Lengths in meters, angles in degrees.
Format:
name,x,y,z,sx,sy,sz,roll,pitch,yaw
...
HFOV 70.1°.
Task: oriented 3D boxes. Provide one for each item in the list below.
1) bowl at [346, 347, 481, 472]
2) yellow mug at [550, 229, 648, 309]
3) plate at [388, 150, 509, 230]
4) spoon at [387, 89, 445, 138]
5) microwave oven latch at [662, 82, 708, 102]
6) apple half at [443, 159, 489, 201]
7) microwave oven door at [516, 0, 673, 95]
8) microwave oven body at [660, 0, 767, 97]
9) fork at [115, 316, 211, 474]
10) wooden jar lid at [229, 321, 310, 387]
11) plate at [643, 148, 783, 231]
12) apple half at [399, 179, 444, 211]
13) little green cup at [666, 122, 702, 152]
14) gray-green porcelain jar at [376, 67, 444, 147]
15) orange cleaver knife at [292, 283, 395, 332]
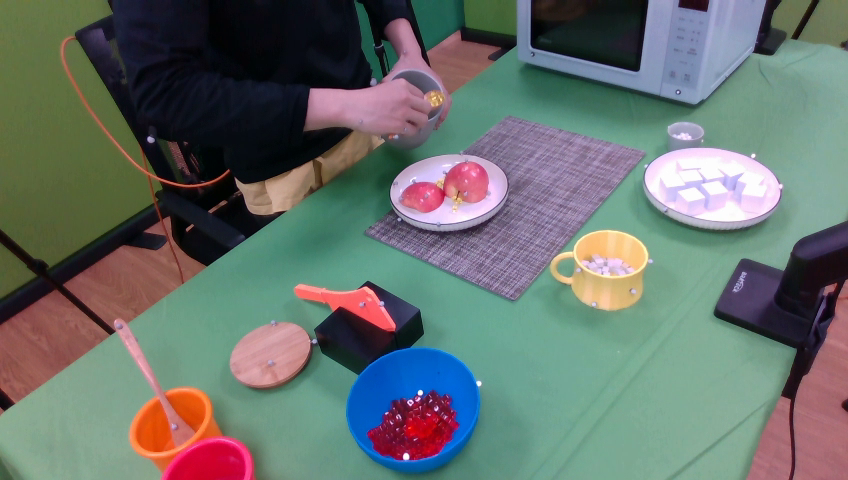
name,x,y,z,sx,sy,sz,roll,pitch,yaw
bowl,-0.008,0.205,0.691,0.151,0.077,0.150,-4,40,4
yellow mug,0.245,0.040,0.857,0.130,0.064,0.099,1,42,11
plate,0.044,-0.083,1.043,0.209,0.038,0.208,-4,40,4
spoon,-0.015,-0.200,0.943,0.041,0.022,0.194,15,33,17
microwave oven latch,0.518,-0.299,1.203,0.078,0.029,0.030,29,53,36
apple half,0.074,-0.111,1.047,0.080,0.053,0.075,21,46,30
microwave oven door,0.344,-0.458,1.256,0.353,0.245,0.039,26,51,33
microwave oven body,0.473,-0.516,1.313,0.438,0.261,0.327,26,51,34
fork,-0.308,0.179,0.708,0.028,0.018,0.207,-30,89,-23
wooden jar lid,-0.207,0.156,0.820,0.108,0.021,0.108,-3,39,3
plate,0.464,-0.080,0.986,0.207,0.039,0.206,-4,41,4
apple half,-0.004,-0.088,1.045,0.081,0.033,0.081,-2,43,2
little green cup,0.471,-0.184,1.102,0.061,0.039,0.061,-5,41,5
gray-green porcelain jar,-0.030,-0.233,1.091,0.106,0.126,0.105,4,74,-12
orange cleaver knife,-0.115,0.092,0.835,0.209,0.077,0.012,1,32,48
